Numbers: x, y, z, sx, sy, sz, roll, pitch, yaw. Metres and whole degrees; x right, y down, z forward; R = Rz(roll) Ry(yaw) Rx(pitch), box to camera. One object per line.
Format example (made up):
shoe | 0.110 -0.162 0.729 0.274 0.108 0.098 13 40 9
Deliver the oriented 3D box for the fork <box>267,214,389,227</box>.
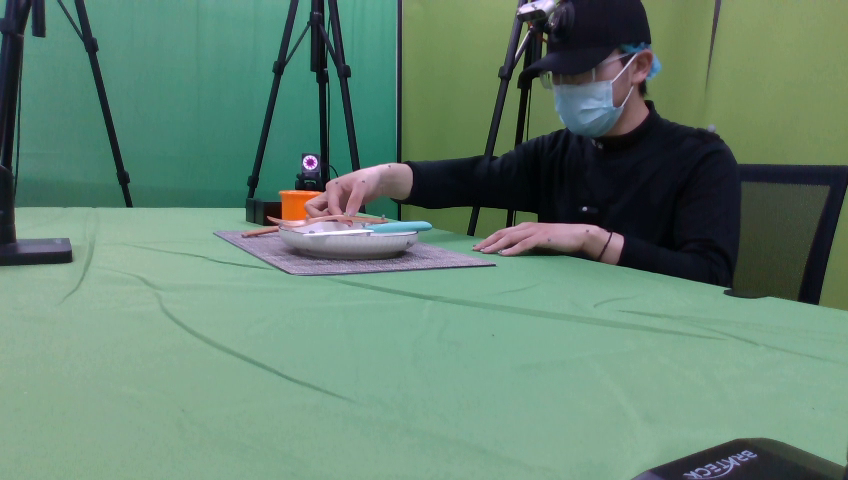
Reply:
fork | -0.146 -0.032 0.957 0.208 0.018 0.028 -4 16 -33

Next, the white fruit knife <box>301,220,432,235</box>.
white fruit knife | -0.079 -0.016 0.858 0.208 0.016 0.027 -4 12 -38

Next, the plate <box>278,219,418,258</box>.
plate | -0.114 -0.003 0.914 0.209 0.038 0.209 2 8 0

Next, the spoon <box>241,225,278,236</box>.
spoon | -0.232 -0.021 1.082 0.195 0.021 0.041 -3 27 -37
